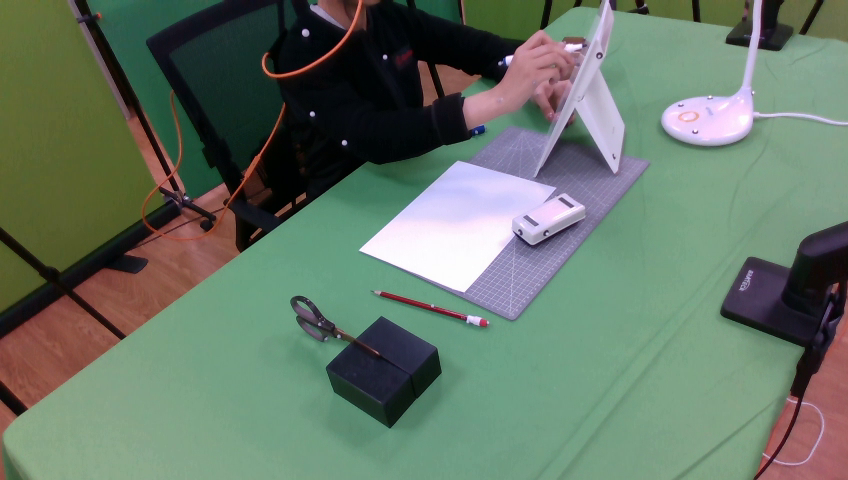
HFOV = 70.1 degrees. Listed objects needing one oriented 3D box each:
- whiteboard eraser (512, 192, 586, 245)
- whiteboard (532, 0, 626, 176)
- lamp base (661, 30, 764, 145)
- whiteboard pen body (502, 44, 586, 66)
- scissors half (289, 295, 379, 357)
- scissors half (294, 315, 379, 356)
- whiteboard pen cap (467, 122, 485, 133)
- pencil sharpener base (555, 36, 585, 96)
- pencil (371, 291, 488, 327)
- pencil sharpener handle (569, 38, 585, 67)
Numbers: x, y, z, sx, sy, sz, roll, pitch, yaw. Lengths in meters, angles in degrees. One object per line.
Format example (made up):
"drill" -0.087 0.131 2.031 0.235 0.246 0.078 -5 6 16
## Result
"whiteboard eraser" 0.199 -0.032 0.962 0.113 0.042 0.055 -27 42 -20
"whiteboard" 0.321 -0.258 1.050 0.144 0.306 0.217 22 45 5
"lamp base" 0.535 -0.287 1.096 0.179 0.181 0.159 -10 40 -4
"whiteboard pen body" 0.201 -0.313 1.018 0.140 0.017 0.017 -6 39 19
"scissors half" -0.122 0.114 0.803 0.174 0.040 0.013 26 48 32
"scissors half" -0.119 0.132 0.813 0.174 0.040 0.013 9 32 44
"whiteboard pen cap" 0.106 -0.228 1.235 0.033 0.018 0.018 -17 41 -6
"pencil sharpener base" 0.318 -0.371 1.290 0.061 0.107 0.076 10 44 22
"pencil" 0.003 0.097 0.877 0.193 0.012 0.012 13 45 26
"pencil sharpener handle" 0.333 -0.413 1.318 0.036 0.068 0.030 19 47 13
